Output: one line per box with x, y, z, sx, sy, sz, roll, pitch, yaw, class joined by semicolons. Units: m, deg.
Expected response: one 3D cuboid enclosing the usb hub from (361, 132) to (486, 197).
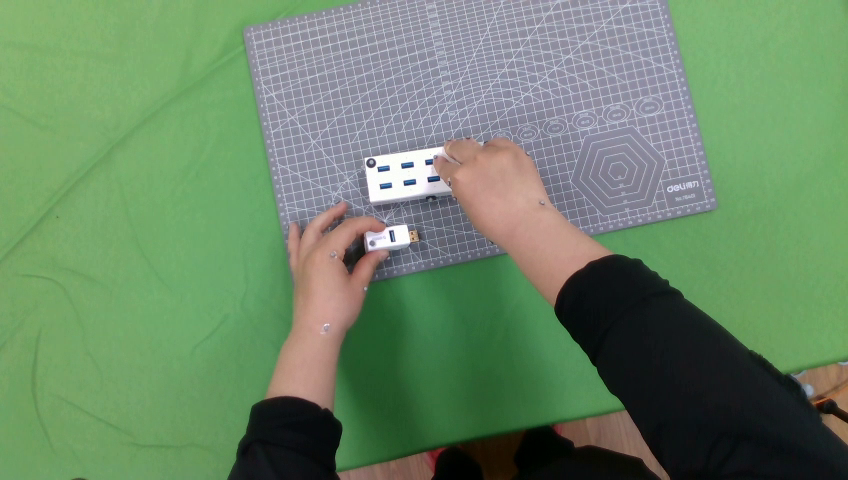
0.000;-0.079;0.629;0.125;0.025;0.049;-8;85;2;usb hub

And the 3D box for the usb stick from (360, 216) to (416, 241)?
-0.035;-0.012;0.622;0.059;0.027;0.021;-6;91;-21;usb stick
